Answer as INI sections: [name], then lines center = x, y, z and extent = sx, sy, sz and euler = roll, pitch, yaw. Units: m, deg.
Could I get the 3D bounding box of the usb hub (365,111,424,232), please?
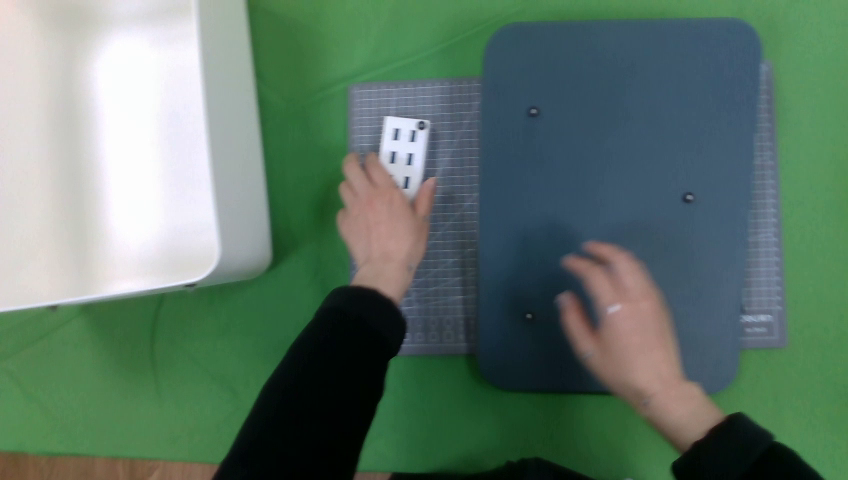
[usb hub]
center = -0.031, -0.073, 0.646
extent = 0.049, 0.025, 0.125
euler = 7, 88, 5

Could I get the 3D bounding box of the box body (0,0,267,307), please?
[box body]
center = -0.315, -0.124, 0.608
extent = 0.254, 0.161, 0.363
euler = -9, 86, 4

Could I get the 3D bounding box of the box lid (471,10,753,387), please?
[box lid]
center = 0.179, -0.031, 0.601
extent = 0.263, 0.015, 0.372
euler = 0, 98, 5
